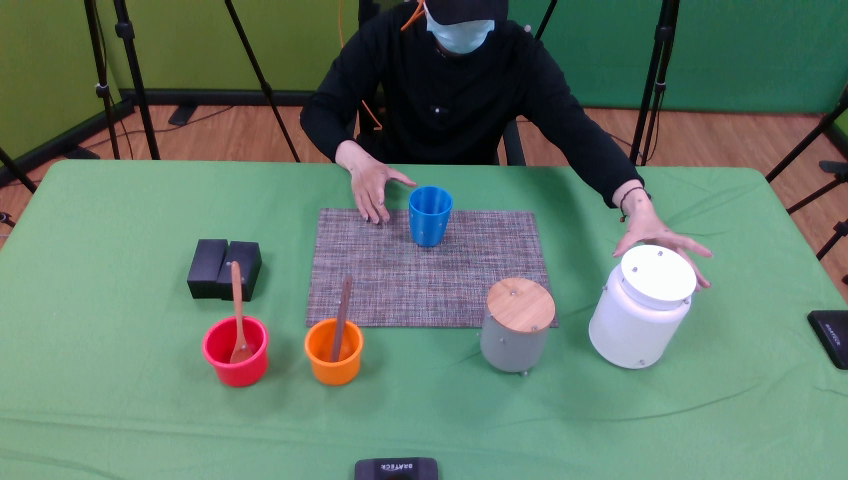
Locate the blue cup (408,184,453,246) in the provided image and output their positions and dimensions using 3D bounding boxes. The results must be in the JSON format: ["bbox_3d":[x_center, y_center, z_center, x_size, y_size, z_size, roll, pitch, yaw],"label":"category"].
[{"bbox_3d":[0.008,-0.042,1.177,0.093,0.101,0.092,3,47,-3],"label":"blue cup"}]

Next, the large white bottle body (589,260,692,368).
[{"bbox_3d":[0.358,0.110,1.000,0.131,0.185,0.130,2,46,-2],"label":"large white bottle body"}]

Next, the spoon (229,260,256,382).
[{"bbox_3d":[-0.294,0.129,0.966,0.042,0.021,0.193,-4,91,-8],"label":"spoon"}]

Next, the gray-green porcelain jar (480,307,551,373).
[{"bbox_3d":[0.148,0.148,0.992,0.106,0.127,0.105,2,46,-2],"label":"gray-green porcelain jar"}]

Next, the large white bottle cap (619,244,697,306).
[{"bbox_3d":[0.363,0.052,0.939,0.115,0.018,0.114,2,47,-2],"label":"large white bottle cap"}]

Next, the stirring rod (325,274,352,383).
[{"bbox_3d":[-0.137,0.142,0.972,0.014,0.006,0.176,10,89,0],"label":"stirring rod"}]

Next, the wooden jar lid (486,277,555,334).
[{"bbox_3d":[0.150,0.105,0.948,0.108,0.021,0.107,3,47,-3],"label":"wooden jar lid"}]
